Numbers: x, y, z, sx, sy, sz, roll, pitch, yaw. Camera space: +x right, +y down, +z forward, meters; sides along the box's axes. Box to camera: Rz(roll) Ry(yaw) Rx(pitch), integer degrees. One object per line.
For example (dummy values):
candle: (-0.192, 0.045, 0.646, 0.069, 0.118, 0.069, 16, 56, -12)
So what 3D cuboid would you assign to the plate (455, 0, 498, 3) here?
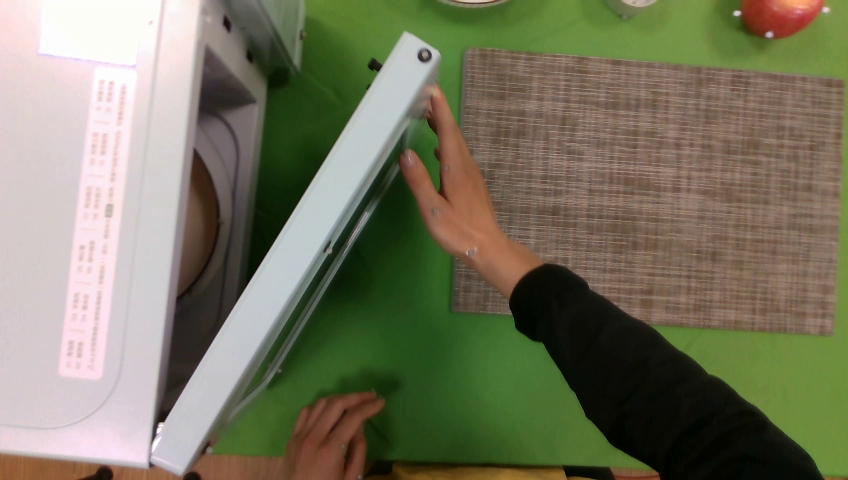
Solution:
plate: (0.055, -0.363, 0.673, 0.208, 0.039, 0.207, 0, 90, -3)

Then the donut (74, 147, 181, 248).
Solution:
donut: (-0.283, -0.040, 0.580, 0.099, 0.048, 0.099, 0, 99, -1)

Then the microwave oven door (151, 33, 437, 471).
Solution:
microwave oven door: (-0.099, 0.008, 0.543, 0.039, 0.243, 0.355, 31, 88, -2)

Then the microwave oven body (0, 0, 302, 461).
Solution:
microwave oven body: (-0.306, -0.075, 0.536, 0.326, 0.260, 0.441, 7, 90, -4)

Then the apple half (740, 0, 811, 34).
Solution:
apple half: (0.385, -0.271, 0.676, 0.053, 0.074, 0.081, -4, 93, 2)

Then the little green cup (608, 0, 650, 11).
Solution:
little green cup: (0.235, -0.291, 0.684, 0.061, 0.038, 0.061, 0, 89, -3)

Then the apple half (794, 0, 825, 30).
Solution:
apple half: (0.424, -0.275, 0.677, 0.033, 0.081, 0.081, -5, 89, 2)

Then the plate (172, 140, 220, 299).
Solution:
plate: (-0.302, -0.027, 0.587, 0.209, 0.038, 0.209, 0, 89, -5)

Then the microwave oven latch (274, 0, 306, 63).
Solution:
microwave oven latch: (-0.144, -0.232, 0.642, 0.030, 0.029, 0.079, 10, 90, -4)
